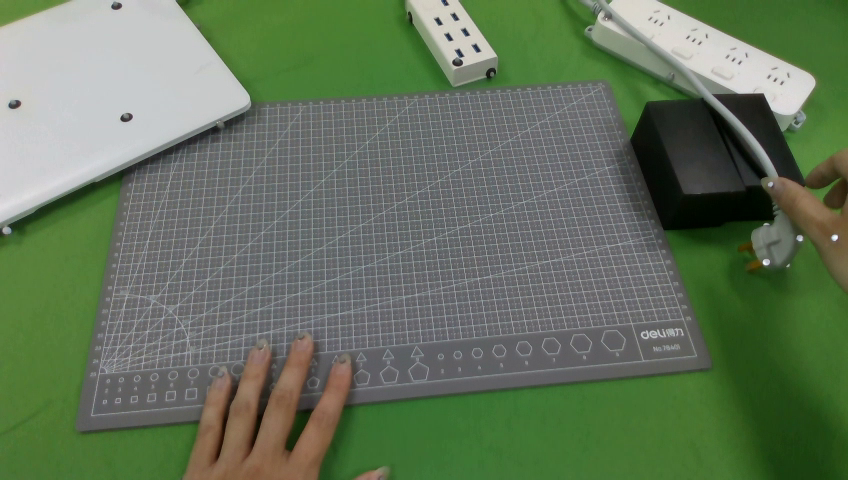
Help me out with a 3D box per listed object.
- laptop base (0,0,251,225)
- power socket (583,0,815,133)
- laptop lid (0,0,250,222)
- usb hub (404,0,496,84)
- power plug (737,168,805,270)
[{"bbox_3d":[-0.366,-0.116,0.553,0.354,0.023,0.233,-32,67,-18],"label":"laptop base"},{"bbox_3d":[0.268,-0.180,0.595,0.225,0.033,0.072,36,64,20],"label":"power socket"},{"bbox_3d":[-0.364,-0.121,0.542,0.357,0.013,0.239,-30,65,-18],"label":"laptop lid"},{"bbox_3d":[0.023,-0.212,0.615,0.049,0.025,0.124,-20,60,-12],"label":"usb hub"},{"bbox_3d":[0.271,-0.011,0.479,0.035,0.053,0.072,19,59,-20],"label":"power plug"}]
